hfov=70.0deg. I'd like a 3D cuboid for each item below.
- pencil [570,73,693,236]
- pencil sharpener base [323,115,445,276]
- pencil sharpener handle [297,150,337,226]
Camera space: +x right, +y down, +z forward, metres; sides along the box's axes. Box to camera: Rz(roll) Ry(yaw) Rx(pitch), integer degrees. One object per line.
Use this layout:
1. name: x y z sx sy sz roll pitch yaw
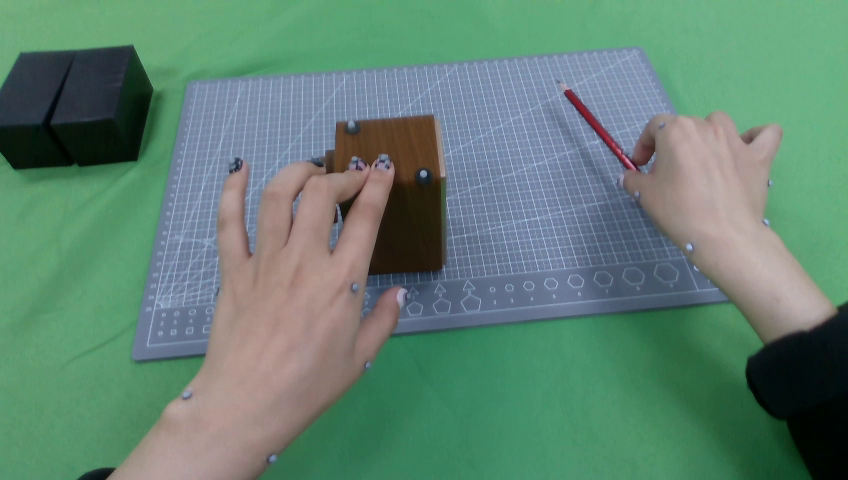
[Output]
1. pencil: 0.164 -0.078 0.499 0.012 0.012 0.192 -16 56 -11
2. pencil sharpener base: -0.025 -0.027 0.426 0.077 0.108 0.061 -4 53 -1
3. pencil sharpener handle: -0.077 -0.031 0.415 0.030 0.068 0.035 -4 56 -1
